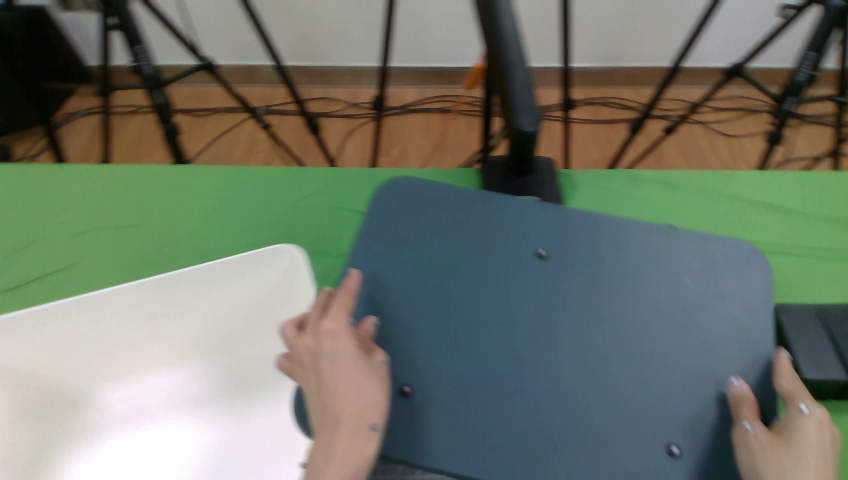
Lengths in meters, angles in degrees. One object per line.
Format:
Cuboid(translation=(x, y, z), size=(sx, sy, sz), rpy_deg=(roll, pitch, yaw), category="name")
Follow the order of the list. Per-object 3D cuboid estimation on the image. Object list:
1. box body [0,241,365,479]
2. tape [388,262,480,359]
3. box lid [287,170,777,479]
Cuboid(translation=(-0.254, 0.181, 0.586), size=(0.365, 0.162, 0.251), rpy_deg=(-15, 51, -12), category="box body")
Cuboid(translation=(0.010, 0.084, 0.742), size=(0.117, 0.053, 0.115), rpy_deg=(0, 47, 0), category="tape")
Cuboid(translation=(0.098, 0.073, 0.503), size=(0.371, 0.015, 0.261), rpy_deg=(11, 59, 6), category="box lid")
